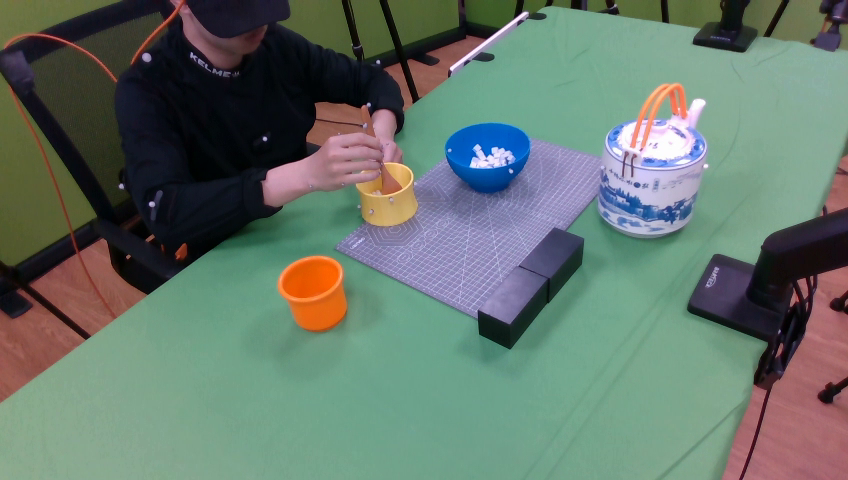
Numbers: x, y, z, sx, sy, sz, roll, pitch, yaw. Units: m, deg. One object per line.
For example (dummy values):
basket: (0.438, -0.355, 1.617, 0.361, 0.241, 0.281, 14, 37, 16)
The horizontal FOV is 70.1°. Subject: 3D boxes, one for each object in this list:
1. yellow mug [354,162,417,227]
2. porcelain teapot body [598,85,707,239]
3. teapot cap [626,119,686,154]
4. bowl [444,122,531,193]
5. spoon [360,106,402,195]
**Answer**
yellow mug: (-0.071, -0.088, 1.043, 0.100, 0.064, 0.129, -19, 42, -14)
porcelain teapot body: (0.362, -0.137, 0.921, 0.144, 0.226, 0.206, 29, 51, 36)
teapot cap: (0.338, -0.153, 0.882, 0.085, 0.044, 0.085, -3, 38, 3)
bowl: (0.113, -0.136, 1.063, 0.151, 0.077, 0.150, -4, 41, 4)
spoon: (-0.073, -0.129, 0.972, 0.042, 0.195, 0.021, -26, 36, -10)
